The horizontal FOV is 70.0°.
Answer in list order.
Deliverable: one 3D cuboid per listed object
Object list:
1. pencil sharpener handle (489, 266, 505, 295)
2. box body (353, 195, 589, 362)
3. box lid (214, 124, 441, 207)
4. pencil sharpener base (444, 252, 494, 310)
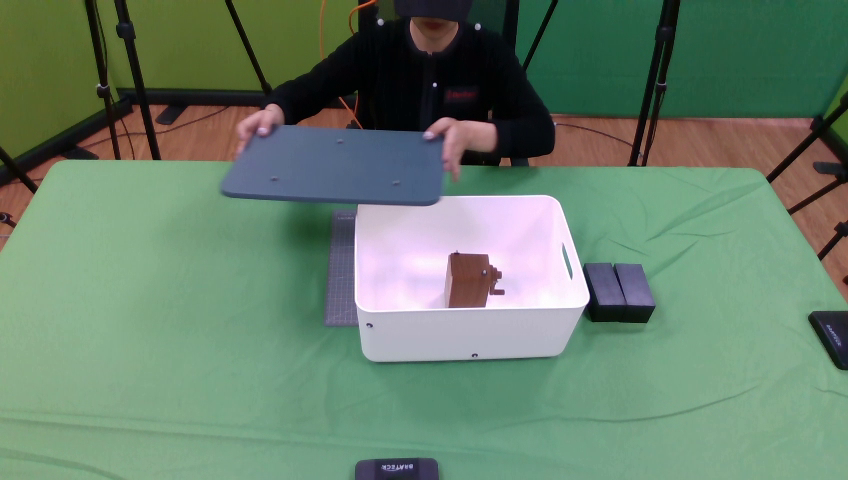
[{"bbox_3d":[0.129,0.071,1.052,0.031,0.068,0.036,1,44,-3],"label":"pencil sharpener handle"},{"bbox_3d":[0.065,0.066,1.040,0.364,0.161,0.252,-1,46,-5],"label":"box body"},{"bbox_3d":[-0.156,-0.138,1.080,0.371,0.015,0.262,3,36,2],"label":"box lid"},{"bbox_3d":[0.078,0.078,1.058,0.077,0.107,0.061,1,45,-4],"label":"pencil sharpener base"}]
